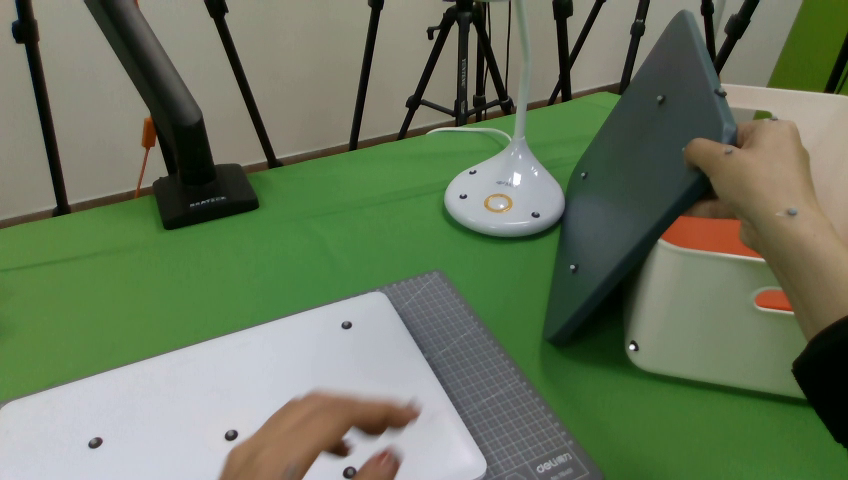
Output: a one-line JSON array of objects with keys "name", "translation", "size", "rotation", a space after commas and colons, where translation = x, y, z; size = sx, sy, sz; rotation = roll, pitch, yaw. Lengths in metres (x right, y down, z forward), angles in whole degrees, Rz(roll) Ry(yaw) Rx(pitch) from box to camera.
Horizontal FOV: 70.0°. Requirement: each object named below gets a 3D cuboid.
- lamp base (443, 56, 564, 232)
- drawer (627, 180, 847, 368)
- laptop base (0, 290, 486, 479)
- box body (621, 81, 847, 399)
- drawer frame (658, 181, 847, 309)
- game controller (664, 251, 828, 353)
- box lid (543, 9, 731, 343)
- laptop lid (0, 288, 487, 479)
[{"name": "lamp base", "translation": [0.106, -0.129, 0.766], "size": [0.160, 0.182, 0.178], "rotation": [8, 35, 11]}, {"name": "drawer", "translation": [0.325, 0.024, 0.630], "size": [0.194, 0.074, 0.210], "rotation": [6, 36, 7]}, {"name": "laptop base", "translation": [-0.155, 0.166, 0.504], "size": [0.355, 0.023, 0.232], "rotation": [-16, 43, -21]}, {"name": "box body", "translation": [0.345, -0.023, 0.639], "size": [0.253, 0.162, 0.361], "rotation": [8, 37, 11]}, {"name": "drawer frame", "translation": [0.322, 0.024, 0.632], "size": [0.201, 0.083, 0.212], "rotation": [4, 35, 7]}, {"name": "game controller", "translation": [0.322, 0.059, 0.605], "size": [0.155, 0.052, 0.096], "rotation": [2, 66, 5]}, {"name": "box lid", "translation": [0.212, -0.081, 0.645], "size": [0.015, 0.264, 0.369], "rotation": [27, 38, -2]}, {"name": "laptop lid", "translation": [-0.154, 0.158, 0.495], "size": [0.357, 0.013, 0.239], "rotation": [-15, 41, -19]}]
